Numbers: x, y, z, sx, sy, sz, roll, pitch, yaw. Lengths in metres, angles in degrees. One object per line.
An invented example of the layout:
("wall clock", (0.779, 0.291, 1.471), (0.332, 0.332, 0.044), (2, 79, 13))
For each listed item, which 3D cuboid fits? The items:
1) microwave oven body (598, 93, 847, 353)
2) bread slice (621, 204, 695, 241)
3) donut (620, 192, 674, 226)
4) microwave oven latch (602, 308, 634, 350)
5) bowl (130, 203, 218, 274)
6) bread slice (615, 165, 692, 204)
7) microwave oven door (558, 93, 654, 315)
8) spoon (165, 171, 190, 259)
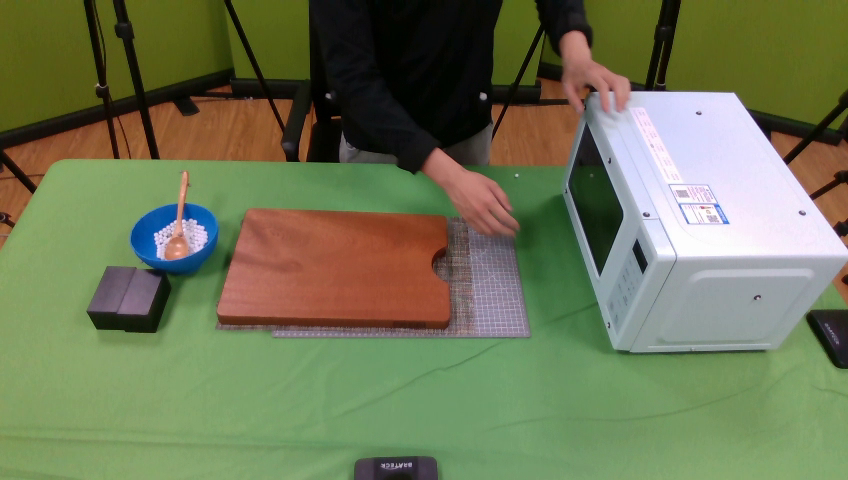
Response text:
("microwave oven body", (0.475, -0.041, 1.110), (0.326, 0.261, 0.438), (-1, 45, -4))
("bread slice", (0.465, -0.039, 1.202), (0.131, 0.019, 0.104), (-5, 36, 8))
("donut", (0.432, -0.061, 1.175), (0.099, 0.048, 0.098), (-7, 26, 4))
("microwave oven latch", (0.332, 0.153, 1.044), (0.030, 0.029, 0.078), (-1, 45, -4))
("bowl", (-0.450, 0.010, 1.116), (0.151, 0.077, 0.150), (3, 45, -2))
("bread slice", (0.440, -0.105, 1.152), (0.135, 0.018, 0.106), (-2, 41, -25))
("microwave oven door", (0.327, -0.074, 1.123), (0.039, 0.245, 0.353), (0, 46, -5))
("spoon", (-0.452, -0.046, 1.129), (0.041, 0.022, 0.193), (-1, 69, -2))
